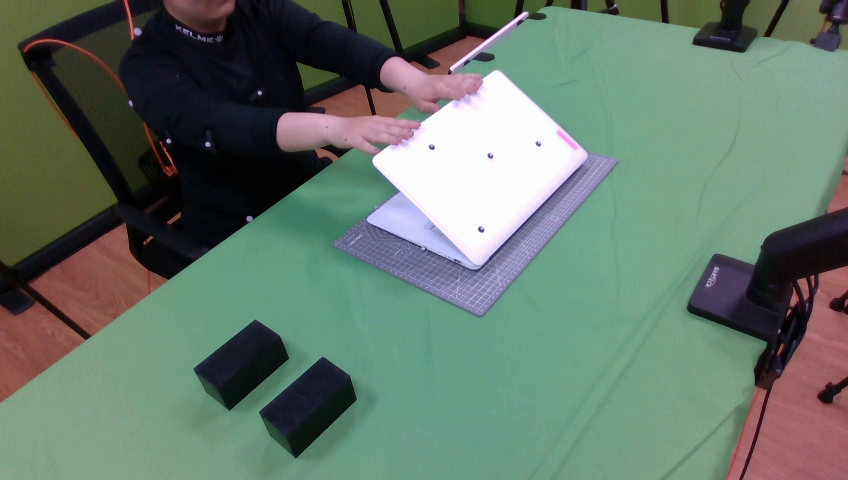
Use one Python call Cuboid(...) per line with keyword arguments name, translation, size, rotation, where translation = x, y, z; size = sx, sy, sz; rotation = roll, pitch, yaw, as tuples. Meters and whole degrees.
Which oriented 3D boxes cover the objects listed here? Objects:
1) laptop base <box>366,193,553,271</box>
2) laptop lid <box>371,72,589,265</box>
Cuboid(name="laptop base", translation=(0.098, -0.085, 1.059), size=(0.233, 0.023, 0.355), rotation=(21, 48, 34))
Cuboid(name="laptop lid", translation=(0.108, -0.136, 0.999), size=(0.241, 0.013, 0.358), rotation=(46, 56, 6))
